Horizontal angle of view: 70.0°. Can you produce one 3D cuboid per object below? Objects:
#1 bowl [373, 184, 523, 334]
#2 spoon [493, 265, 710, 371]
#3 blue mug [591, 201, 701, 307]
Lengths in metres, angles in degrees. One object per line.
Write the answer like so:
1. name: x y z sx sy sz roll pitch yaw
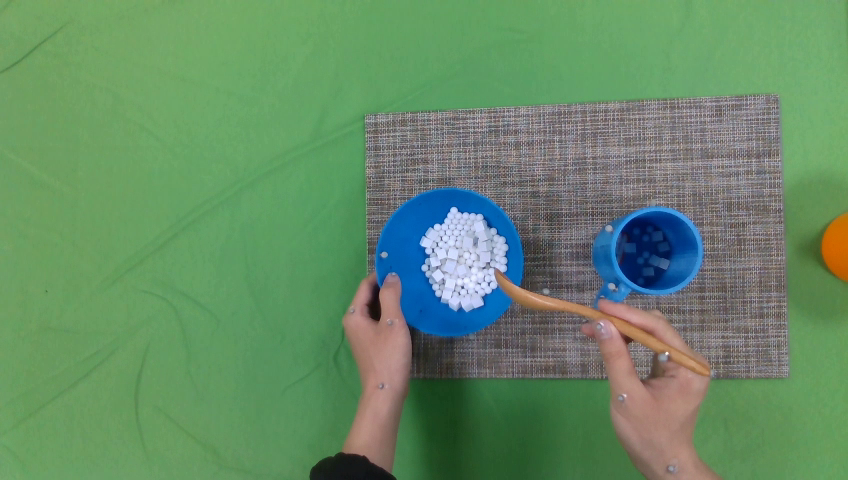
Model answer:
1. bowl: 0.027 0.020 0.639 0.151 0.077 0.151 0 89 6
2. spoon: 0.127 0.056 0.471 0.192 0.042 0.021 19 76 42
3. blue mug: 0.207 0.020 0.607 0.082 0.106 0.116 36 93 6
